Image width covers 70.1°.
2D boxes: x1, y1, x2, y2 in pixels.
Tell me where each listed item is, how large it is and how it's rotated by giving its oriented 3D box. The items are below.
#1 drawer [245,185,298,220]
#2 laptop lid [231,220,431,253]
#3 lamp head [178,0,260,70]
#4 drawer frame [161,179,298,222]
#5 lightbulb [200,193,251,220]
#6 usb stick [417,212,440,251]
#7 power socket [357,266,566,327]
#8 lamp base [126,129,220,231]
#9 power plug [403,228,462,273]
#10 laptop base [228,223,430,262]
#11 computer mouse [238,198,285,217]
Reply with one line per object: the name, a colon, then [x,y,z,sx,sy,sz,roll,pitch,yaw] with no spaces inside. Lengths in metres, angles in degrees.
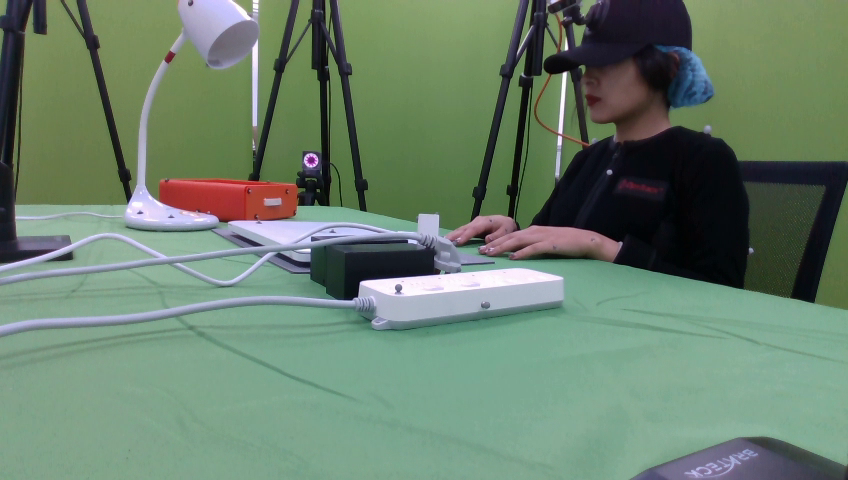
drawer: [-0.416,-0.087,1.329,0.211,0.073,0.195,4,8,18]
laptop lid: [-0.142,-0.009,0.942,0.243,0.013,0.355,1,7,-31]
lamp head: [-0.365,-0.368,1.038,0.123,0.112,0.112,42,14,6]
drawer frame: [-0.420,-0.089,1.328,0.213,0.082,0.202,4,8,18]
lightbulb: [-0.433,-0.079,1.319,0.108,0.059,0.059,-17,13,-16]
usb stick: [0.005,-0.003,0.721,0.027,0.059,0.021,0,-3,-3]
power socket: [0.042,0.049,0.573,0.228,0.032,0.072,-3,8,-34]
lamp base: [-0.470,-0.111,1.105,0.179,0.180,0.160,1,7,6]
power plug: [0.006,0.016,0.647,0.073,0.052,0.035,17,12,-6]
laptop base: [-0.145,0.002,0.943,0.237,0.023,0.352,1,6,-32]
computer mouse: [-0.354,-0.072,1.326,0.063,0.041,0.117,3,2,12]
